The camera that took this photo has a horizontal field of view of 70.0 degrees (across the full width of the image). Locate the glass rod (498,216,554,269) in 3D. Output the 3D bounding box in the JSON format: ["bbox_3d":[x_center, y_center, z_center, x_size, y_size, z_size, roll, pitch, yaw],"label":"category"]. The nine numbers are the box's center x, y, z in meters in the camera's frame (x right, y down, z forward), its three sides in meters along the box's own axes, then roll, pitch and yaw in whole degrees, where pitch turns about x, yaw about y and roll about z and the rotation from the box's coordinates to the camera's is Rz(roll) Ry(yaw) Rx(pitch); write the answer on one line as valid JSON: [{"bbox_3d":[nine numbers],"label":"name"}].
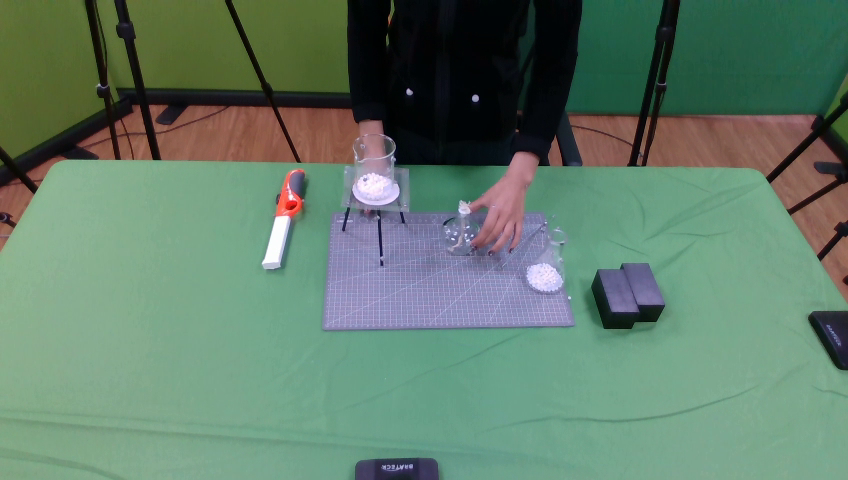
[{"bbox_3d":[0.208,0.002,1.219,0.008,0.008,0.199,32,52,25],"label":"glass rod"}]

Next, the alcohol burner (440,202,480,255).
[{"bbox_3d":[0.071,-0.027,1.164,0.078,0.119,0.077,4,45,-4],"label":"alcohol burner"}]

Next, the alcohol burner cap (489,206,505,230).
[{"bbox_3d":[0.152,-0.047,1.241,0.034,0.048,0.033,2,44,-2],"label":"alcohol burner cap"}]

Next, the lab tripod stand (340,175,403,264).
[{"bbox_3d":[-0.093,-0.050,1.160,0.148,0.132,0.147,2,44,-2],"label":"lab tripod stand"}]

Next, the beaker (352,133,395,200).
[{"bbox_3d":[-0.091,-0.126,1.074,0.074,0.101,0.084,26,48,21],"label":"beaker"}]

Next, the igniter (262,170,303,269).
[{"bbox_3d":[-0.283,-0.050,1.222,0.057,0.025,0.275,-4,45,6],"label":"igniter"}]

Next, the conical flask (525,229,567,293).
[{"bbox_3d":[0.231,0.036,1.110,0.075,0.122,0.075,2,46,-2],"label":"conical flask"}]

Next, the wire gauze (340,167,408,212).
[{"bbox_3d":[-0.091,-0.095,1.111,0.125,0.011,0.120,1,43,-2],"label":"wire gauze"}]
